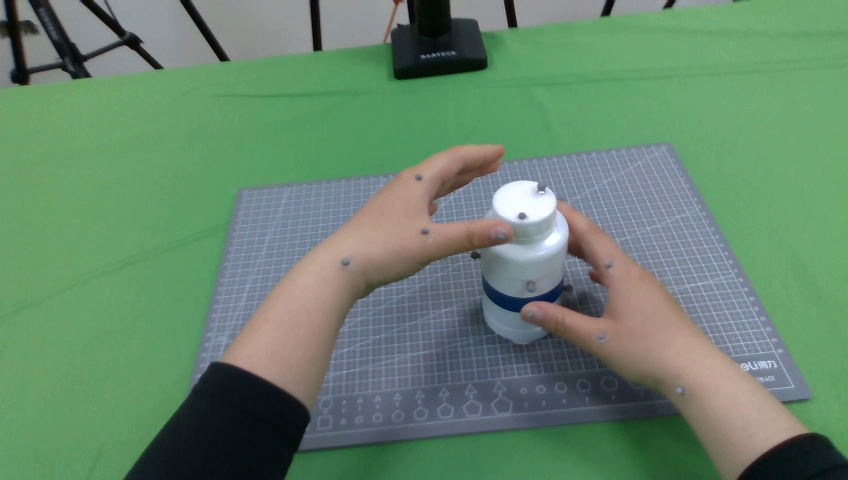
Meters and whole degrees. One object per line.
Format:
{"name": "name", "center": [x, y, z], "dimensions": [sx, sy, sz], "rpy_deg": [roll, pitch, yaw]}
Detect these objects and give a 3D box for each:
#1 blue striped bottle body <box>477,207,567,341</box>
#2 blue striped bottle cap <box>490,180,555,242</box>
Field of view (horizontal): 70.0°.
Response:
{"name": "blue striped bottle body", "center": [0.072, 0.015, 0.447], "dimensions": [0.063, 0.122, 0.062], "rpy_deg": [-3, 45, 4]}
{"name": "blue striped bottle cap", "center": [0.066, -0.021, 0.410], "dimensions": [0.044, 0.021, 0.044], "rpy_deg": [-2, 46, 3]}
